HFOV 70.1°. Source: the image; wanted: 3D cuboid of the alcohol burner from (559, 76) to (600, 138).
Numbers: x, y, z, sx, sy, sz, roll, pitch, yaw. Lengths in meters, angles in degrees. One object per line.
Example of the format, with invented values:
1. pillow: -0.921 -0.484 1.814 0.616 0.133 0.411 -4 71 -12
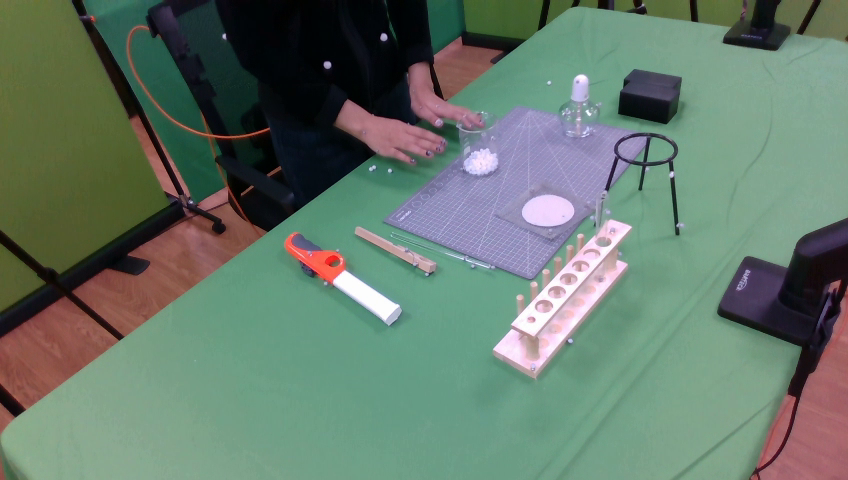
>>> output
1. alcohol burner: 0.298 -0.258 1.156 0.078 0.119 0.077 -4 39 4

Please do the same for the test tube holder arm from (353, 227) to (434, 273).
1. test tube holder arm: -0.053 0.014 0.978 0.177 0.015 0.013 25 16 34

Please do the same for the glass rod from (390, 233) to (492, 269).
1. glass rod: 0.023 0.017 0.971 0.198 0.008 0.008 18 48 32

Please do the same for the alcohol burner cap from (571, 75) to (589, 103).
1. alcohol burner cap: 0.294 -0.284 1.132 0.034 0.048 0.033 -5 46 5

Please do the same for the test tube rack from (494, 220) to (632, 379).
1. test tube rack: 0.191 0.068 0.818 0.066 0.085 0.243 25 51 35

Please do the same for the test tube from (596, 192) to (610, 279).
1. test tube: 0.240 -0.002 0.814 0.017 0.151 0.017 -7 42 7

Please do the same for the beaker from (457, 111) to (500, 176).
1. beaker: 0.104 -0.176 1.108 0.073 0.101 0.084 16 46 27

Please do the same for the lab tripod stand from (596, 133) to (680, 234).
1. lab tripod stand: 0.338 -0.091 0.940 0.148 0.132 0.147 -7 39 6

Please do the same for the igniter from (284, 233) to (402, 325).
1. igniter: -0.136 0.054 0.942 0.274 0.025 0.057 30 64 37

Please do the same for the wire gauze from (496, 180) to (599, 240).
1. wire gauze: 0.206 -0.050 1.012 0.125 0.011 0.120 -34 45 -26

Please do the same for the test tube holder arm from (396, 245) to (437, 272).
1. test tube holder arm: -0.016 0.029 0.957 0.087 0.015 0.010 25 16 35
